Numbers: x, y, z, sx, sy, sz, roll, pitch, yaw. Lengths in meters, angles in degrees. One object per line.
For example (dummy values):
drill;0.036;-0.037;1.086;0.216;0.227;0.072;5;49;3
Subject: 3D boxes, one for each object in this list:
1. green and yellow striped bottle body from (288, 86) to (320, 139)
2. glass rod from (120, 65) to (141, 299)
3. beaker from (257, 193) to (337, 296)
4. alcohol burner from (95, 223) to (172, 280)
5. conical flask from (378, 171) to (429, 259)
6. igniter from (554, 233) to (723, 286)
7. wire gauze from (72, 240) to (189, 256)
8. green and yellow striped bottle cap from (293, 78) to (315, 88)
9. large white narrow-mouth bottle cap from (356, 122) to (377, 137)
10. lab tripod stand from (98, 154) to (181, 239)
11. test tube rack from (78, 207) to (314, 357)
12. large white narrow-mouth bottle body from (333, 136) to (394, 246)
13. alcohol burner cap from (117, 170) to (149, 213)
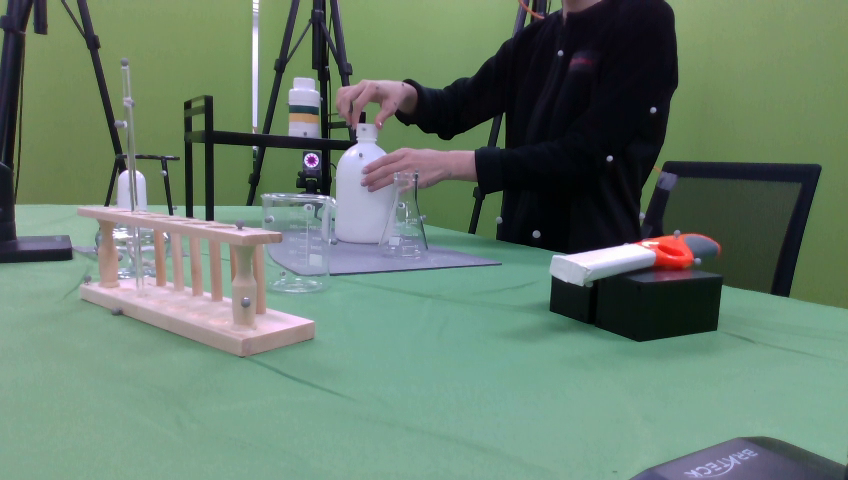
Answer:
green and yellow striped bottle body;-0.250;-0.272;1.261;0.063;0.119;0.063;3;7;0
glass rod;-0.249;-0.047;0.513;0.008;0.199;0.008;-1;4;0
beaker;-0.130;0.003;0.628;0.084;0.100;0.074;5;8;15
alcohol burner;-0.320;-0.016;0.667;0.078;0.119;0.078;0;7;0
conical flask;-0.027;-0.037;0.869;0.075;0.122;0.075;3;7;0
igniter;0.214;0.015;0.570;0.278;0.025;0.057;-5;22;-44
wire gauze;-0.399;0.013;0.820;0.126;0.011;0.121;-3;8;-37
green and yellow striped bottle cap;-0.248;-0.323;1.256;0.045;0.020;0.045;4;8;0
large white narrow-mouth bottle cap;-0.095;-0.182;1.002;0.038;0.024;0.037;3;9;0
lab tripod stand;-0.427;-0.066;0.942;0.148;0.131;0.148;1;6;0
test tube rack;-0.196;0.023;0.500;0.241;0.085;0.067;8;9;37
large white narrow-mouth bottle body;-0.100;-0.093;1.017;0.102;0.194;0.101;3;9;0
alcohol burner cap;-0.320;-0.052;0.661;0.034;0.048;0.034;-3;0;0
